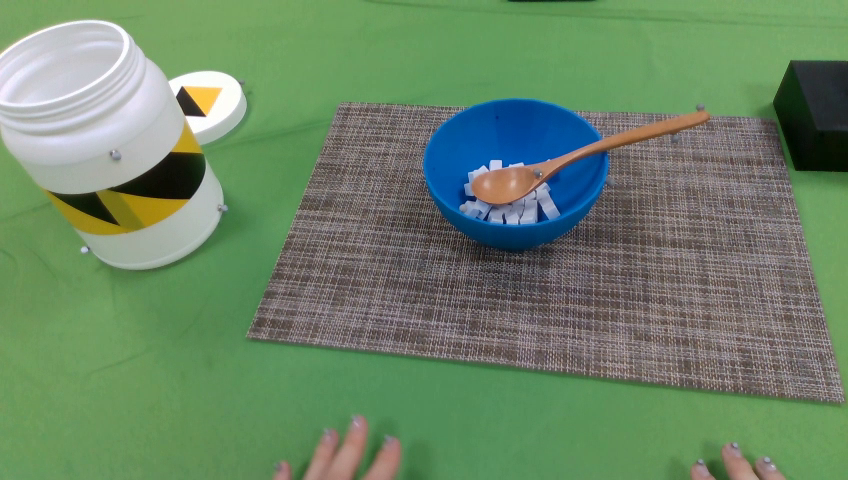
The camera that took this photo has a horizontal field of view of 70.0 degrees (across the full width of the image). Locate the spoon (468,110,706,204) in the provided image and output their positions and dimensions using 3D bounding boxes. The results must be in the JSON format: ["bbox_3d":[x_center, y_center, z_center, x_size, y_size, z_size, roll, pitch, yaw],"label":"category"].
[{"bbox_3d":[0.129,-0.069,0.489,0.193,0.022,0.041,-20,47,15],"label":"spoon"}]

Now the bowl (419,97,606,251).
[{"bbox_3d":[0.074,-0.044,0.520,0.151,0.077,0.150,-3,52,4],"label":"bowl"}]

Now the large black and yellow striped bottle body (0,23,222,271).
[{"bbox_3d":[-0.266,-0.075,0.520,0.131,0.186,0.129,-3,51,4],"label":"large black and yellow striped bottle body"}]

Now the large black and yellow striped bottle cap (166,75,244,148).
[{"bbox_3d":[-0.263,-0.146,0.684,0.115,0.019,0.114,-2,51,3],"label":"large black and yellow striped bottle cap"}]
